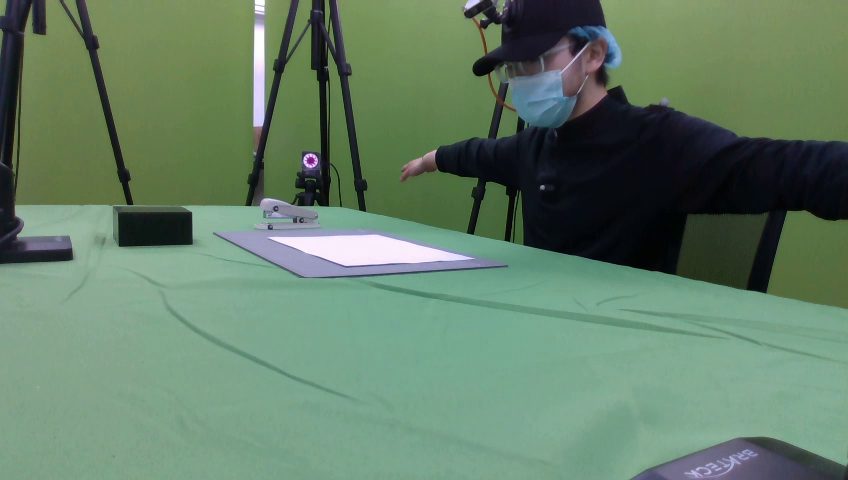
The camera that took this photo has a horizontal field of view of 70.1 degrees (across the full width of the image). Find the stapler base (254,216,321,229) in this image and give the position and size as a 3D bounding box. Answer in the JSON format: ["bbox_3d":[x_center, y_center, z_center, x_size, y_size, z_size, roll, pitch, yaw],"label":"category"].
[{"bbox_3d":[-0.269,-0.036,1.197,0.131,0.024,0.041,-1,11,-40],"label":"stapler base"}]

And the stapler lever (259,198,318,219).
[{"bbox_3d":[-0.267,-0.061,1.195,0.119,0.040,0.026,-1,11,-40],"label":"stapler lever"}]
